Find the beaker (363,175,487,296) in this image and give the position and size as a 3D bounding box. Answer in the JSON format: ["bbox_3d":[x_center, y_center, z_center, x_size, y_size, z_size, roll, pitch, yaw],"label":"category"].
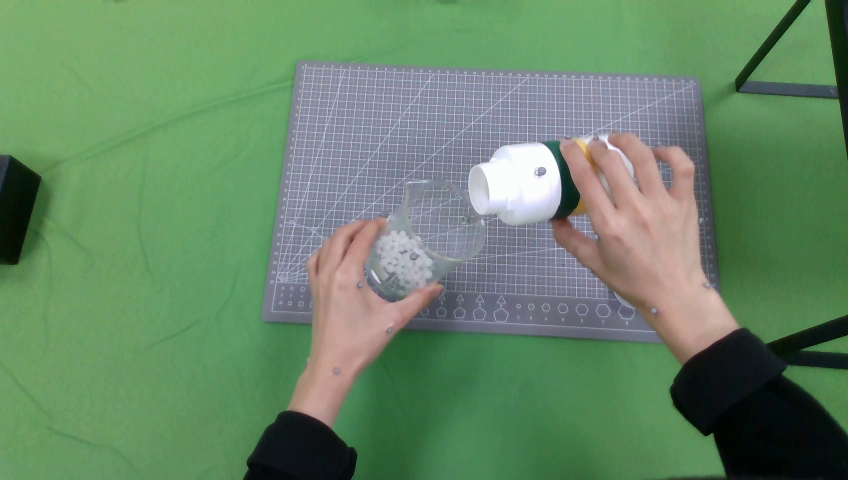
[{"bbox_3d":[-0.006,-0.002,0.522,0.084,0.100,0.074,47,52,0],"label":"beaker"}]

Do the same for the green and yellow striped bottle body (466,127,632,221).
[{"bbox_3d":[0.095,-0.050,0.474,0.120,0.063,0.062,-11,71,-18],"label":"green and yellow striped bottle body"}]

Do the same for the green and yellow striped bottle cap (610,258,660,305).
[{"bbox_3d":[0.208,0.041,0.595,0.045,0.020,0.045,0,70,1],"label":"green and yellow striped bottle cap"}]
